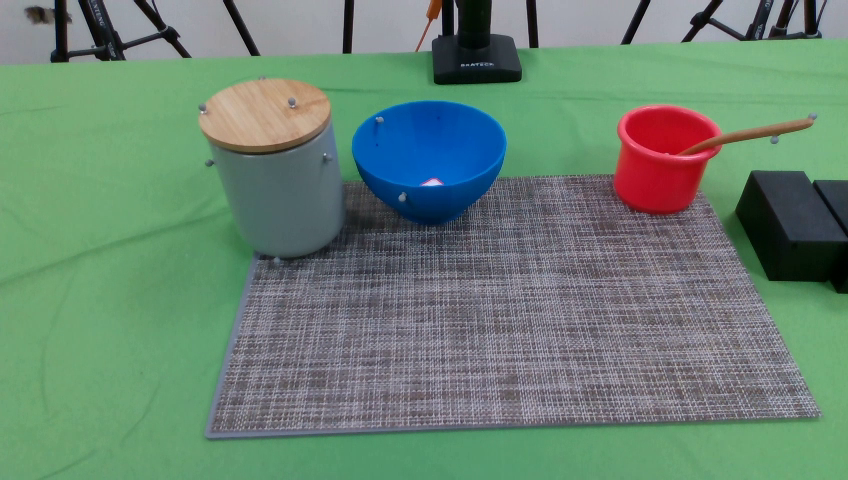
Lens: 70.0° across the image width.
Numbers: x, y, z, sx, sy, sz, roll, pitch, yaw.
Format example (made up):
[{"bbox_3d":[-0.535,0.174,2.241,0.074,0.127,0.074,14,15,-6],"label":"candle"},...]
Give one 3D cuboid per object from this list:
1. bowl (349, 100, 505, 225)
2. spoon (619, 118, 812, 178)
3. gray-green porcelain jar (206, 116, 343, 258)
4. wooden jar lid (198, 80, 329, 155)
[{"bbox_3d":[0.004,-0.068,0.606,0.151,0.077,0.150,-1,43,1],"label":"bowl"},{"bbox_3d":[0.262,-0.085,0.569,0.041,0.193,0.022,-34,97,-27],"label":"spoon"},{"bbox_3d":[-0.132,-0.055,0.560,0.106,0.127,0.105,-1,43,1],"label":"gray-green porcelain jar"},{"bbox_3d":[-0.135,-0.102,0.516,0.108,0.021,0.107,0,43,0],"label":"wooden jar lid"}]
